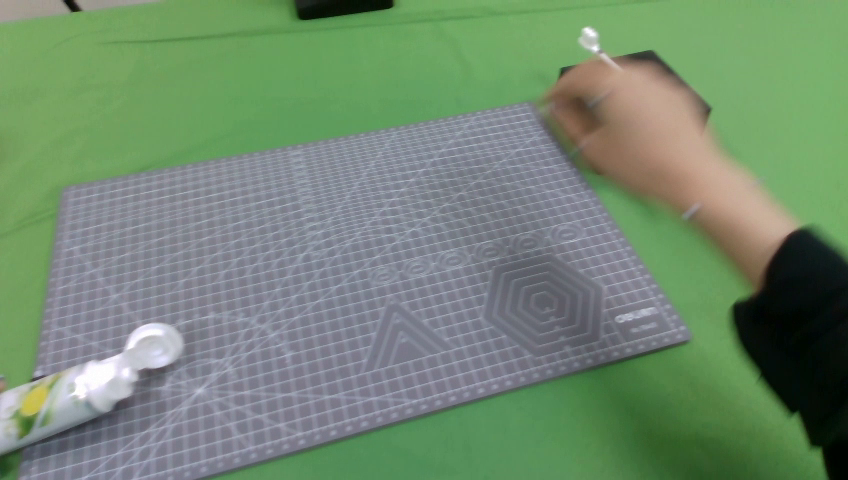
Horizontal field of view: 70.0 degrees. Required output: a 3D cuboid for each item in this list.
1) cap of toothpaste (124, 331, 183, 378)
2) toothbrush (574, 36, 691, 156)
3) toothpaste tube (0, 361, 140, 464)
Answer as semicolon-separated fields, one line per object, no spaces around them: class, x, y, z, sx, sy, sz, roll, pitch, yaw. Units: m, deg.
cap of toothpaste;-0.182;0.079;0.408;0.037;0.037;0.011;-16;24;-13
toothbrush;0.185;-0.135;0.549;0.014;0.017;0.180;-13;50;-16
toothpaste tube;-0.261;0.117;0.382;0.165;0.035;0.054;-21;47;-7
